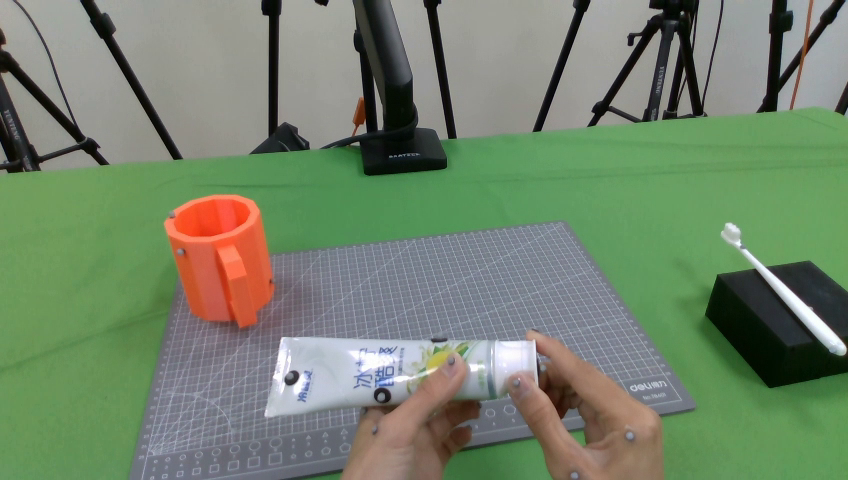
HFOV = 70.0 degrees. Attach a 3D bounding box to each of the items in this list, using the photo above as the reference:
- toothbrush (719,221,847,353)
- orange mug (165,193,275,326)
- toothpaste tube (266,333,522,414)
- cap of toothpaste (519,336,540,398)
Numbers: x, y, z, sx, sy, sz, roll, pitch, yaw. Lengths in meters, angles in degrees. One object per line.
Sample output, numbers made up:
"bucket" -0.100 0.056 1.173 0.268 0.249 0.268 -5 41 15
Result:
"toothbrush" 0.320 0.036 0.550 0.014 0.017 0.180 -1 34 -8
"orange mug" -0.191 0.023 0.589 0.084 0.101 0.125 -18 34 -23
"toothpaste tube" -0.015 0.078 0.374 0.165 0.035 0.054 -4 50 9
"cap of toothpaste" 0.063 0.075 0.359 0.011 0.038 0.037 -4 34 8
